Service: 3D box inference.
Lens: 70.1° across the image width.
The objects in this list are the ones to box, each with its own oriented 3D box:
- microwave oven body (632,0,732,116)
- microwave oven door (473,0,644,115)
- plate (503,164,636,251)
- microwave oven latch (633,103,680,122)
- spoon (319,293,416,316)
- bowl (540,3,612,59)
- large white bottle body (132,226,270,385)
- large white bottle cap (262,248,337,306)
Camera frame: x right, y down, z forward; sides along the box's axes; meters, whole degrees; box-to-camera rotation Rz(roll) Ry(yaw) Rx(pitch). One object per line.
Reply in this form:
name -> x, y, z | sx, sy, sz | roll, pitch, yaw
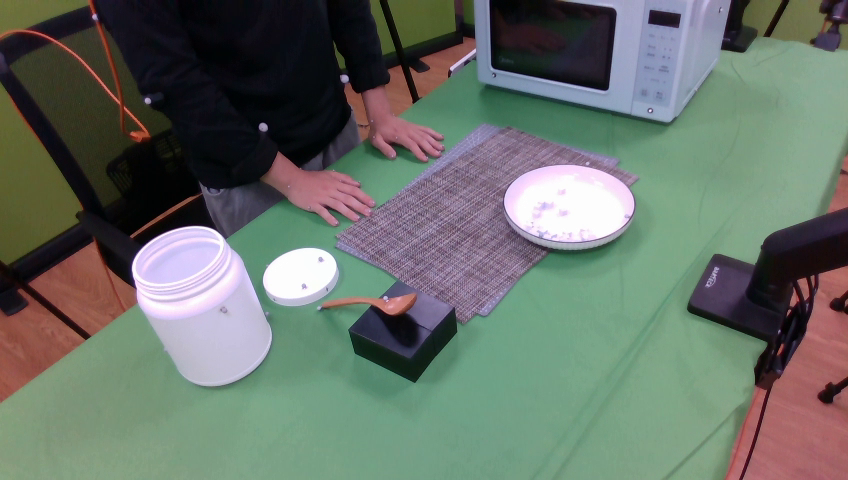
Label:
microwave oven body -> 0.377, -0.462, 1.267 | 0.438, 0.261, 0.327 | 21, 48, 30
microwave oven door -> 0.257, -0.396, 1.199 | 0.353, 0.245, 0.039 | 21, 48, 29
plate -> 0.232, -0.050, 0.976 | 0.209, 0.038, 0.208 | -3, 41, 3
microwave oven latch -> 0.444, -0.249, 1.157 | 0.078, 0.029, 0.030 | 21, 48, 30
spoon -> -0.082, 0.086, 0.826 | 0.192, 0.022, 0.041 | -3, 36, 41
bowl -> 0.323, -0.441, 1.298 | 0.151, 0.077, 0.150 | -4, 41, 4
large white bottle body -> -0.286, 0.085, 0.784 | 0.130, 0.185, 0.130 | -4, 41, 4
large white bottle cap -> -0.192, 0.056, 0.934 | 0.115, 0.018, 0.114 | -4, 41, 4
